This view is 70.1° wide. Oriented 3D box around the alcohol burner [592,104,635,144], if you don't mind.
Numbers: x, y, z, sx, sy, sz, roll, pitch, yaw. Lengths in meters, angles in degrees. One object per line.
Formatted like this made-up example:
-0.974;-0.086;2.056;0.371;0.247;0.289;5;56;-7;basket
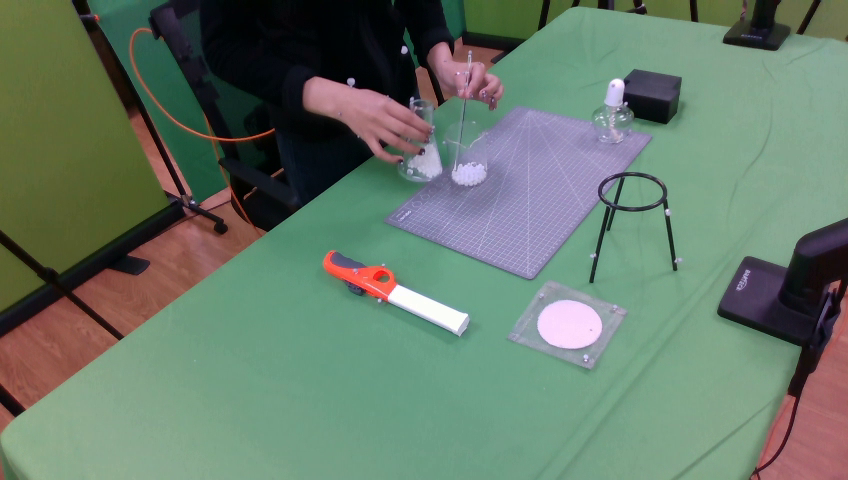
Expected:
0.353;-0.242;1.126;0.078;0.119;0.077;-5;38;5;alcohol burner

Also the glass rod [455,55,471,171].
0.067;-0.219;1.054;0.008;0.200;0.008;6;16;-1;glass rod

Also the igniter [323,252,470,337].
-0.052;0.075;0.901;0.274;0.025;0.057;22;60;32;igniter

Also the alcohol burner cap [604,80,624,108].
0.350;-0.269;1.102;0.034;0.048;0.033;-2;46;2;alcohol burner cap

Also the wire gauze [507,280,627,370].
0.196;0.114;0.823;0.120;0.011;0.125;20;50;31;wire gauze

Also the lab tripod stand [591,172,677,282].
0.292;-0.022;0.867;0.148;0.132;0.147;-7;39;6;lab tripod stand

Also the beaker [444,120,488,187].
0.078;-0.150;1.083;0.074;0.101;0.083;-9;41;1;beaker

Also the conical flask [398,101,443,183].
-0.005;-0.159;0.971;0.075;0.122;0.075;1;35;0;conical flask
